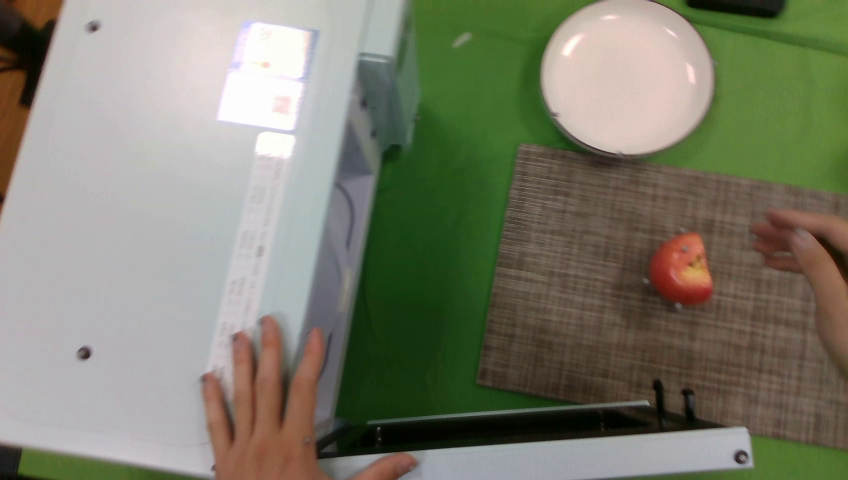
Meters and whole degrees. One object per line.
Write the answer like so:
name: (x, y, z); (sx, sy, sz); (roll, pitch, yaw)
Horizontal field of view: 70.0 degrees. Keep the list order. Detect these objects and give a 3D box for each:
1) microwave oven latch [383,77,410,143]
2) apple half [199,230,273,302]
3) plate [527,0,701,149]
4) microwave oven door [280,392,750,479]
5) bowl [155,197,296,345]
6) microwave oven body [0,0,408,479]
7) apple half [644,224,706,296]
microwave oven latch: (-0.035, -0.160, 0.733); (0.030, 0.029, 0.079); (8, 82, 3)
apple half: (-0.200, 0.030, 0.641); (0.081, 0.032, 0.081); (0, 92, -6)
plate: (0.230, -0.209, 0.749); (0.207, 0.039, 0.207); (0, 81, 2)
microwave oven door: (0.072, 0.184, 0.569); (0.356, 0.244, 0.039); (-6, 80, 2)
bowl: (-0.198, 0.032, 0.652); (0.151, 0.077, 0.151); (0, 90, 10)
microwave oven body: (-0.212, -0.024, 0.620); (0.326, 0.261, 0.440); (8, 81, 3)
apple half: (0.278, 0.026, 0.685); (0.053, 0.075, 0.080); (-11, 84, 5)
